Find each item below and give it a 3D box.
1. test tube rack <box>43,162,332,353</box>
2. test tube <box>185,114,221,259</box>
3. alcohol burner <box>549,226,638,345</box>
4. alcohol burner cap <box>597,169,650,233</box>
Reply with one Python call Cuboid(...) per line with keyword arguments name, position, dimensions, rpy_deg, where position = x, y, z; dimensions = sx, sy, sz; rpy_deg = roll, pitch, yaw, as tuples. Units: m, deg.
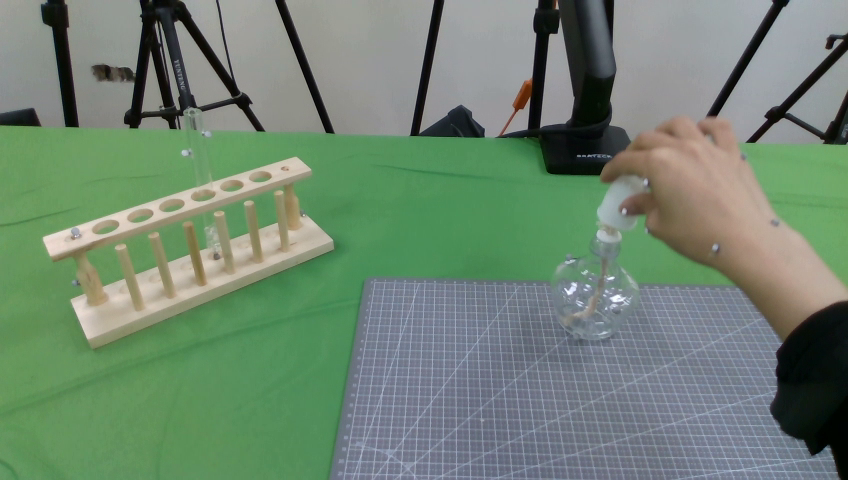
Cuboid(name="test tube rack", position=(-0.214, 0.009, 0.586), dimensions=(0.243, 0.086, 0.066), rpy_deg=(-24, 43, -29))
Cuboid(name="test tube", position=(-0.209, -0.046, 0.577), dimensions=(0.017, 0.151, 0.017), rpy_deg=(3, 32, -1))
Cuboid(name="alcohol burner", position=(0.151, 0.034, 0.530), dimensions=(0.078, 0.120, 0.077), rpy_deg=(1, 38, -1))
Cuboid(name="alcohol burner cap", position=(0.159, -0.033, 0.474), dimensions=(0.034, 0.048, 0.033), rpy_deg=(7, 39, -5))
